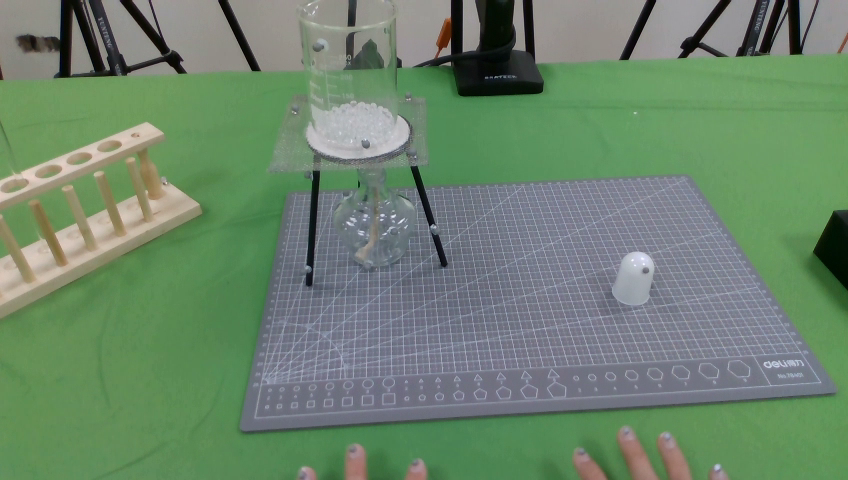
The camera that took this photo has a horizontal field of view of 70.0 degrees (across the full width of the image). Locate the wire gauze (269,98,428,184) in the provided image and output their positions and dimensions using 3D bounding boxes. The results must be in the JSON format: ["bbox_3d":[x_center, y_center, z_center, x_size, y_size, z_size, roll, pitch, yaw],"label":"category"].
[{"bbox_3d":[-0.058,-0.087,0.501,0.121,0.011,0.124,-1,42,-1],"label":"wire gauze"}]

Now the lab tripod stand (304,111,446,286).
[{"bbox_3d":[-0.049,-0.037,0.545,0.148,0.132,0.147,1,38,0],"label":"lab tripod stand"}]

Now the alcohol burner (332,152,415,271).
[{"bbox_3d":[-0.046,-0.030,0.552,0.078,0.120,0.077,1,41,0],"label":"alcohol burner"}]

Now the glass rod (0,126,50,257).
[{"bbox_3d":[-0.360,-0.070,0.525,0.008,0.201,0.008,0,32,0],"label":"glass rod"}]

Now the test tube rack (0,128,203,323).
[{"bbox_3d":[-0.338,-0.012,0.559,0.066,0.086,0.242,30,48,32],"label":"test tube rack"}]

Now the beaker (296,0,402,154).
[{"bbox_3d":[-0.059,-0.125,0.472,0.083,0.101,0.074,23,44,24],"label":"beaker"}]

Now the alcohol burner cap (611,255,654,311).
[{"bbox_3d":[0.184,0.035,0.528,0.034,0.048,0.033,0,40,1],"label":"alcohol burner cap"}]
